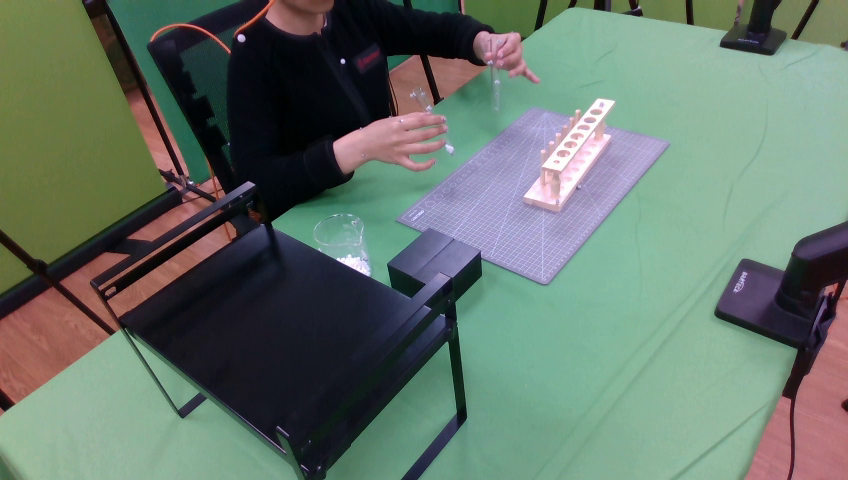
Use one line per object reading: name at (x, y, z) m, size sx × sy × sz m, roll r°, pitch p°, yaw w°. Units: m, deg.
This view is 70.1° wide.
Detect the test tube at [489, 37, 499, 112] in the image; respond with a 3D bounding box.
test tube at (0.132, -0.308, 1.136) m, size 0.017 × 0.151 × 0.017 m, roll -4°, pitch 42°, yaw 4°

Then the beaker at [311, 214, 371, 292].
beaker at (-0.118, 0.022, 0.908) m, size 0.083 × 0.101 × 0.074 m, roll 26°, pitch 51°, yaw 32°

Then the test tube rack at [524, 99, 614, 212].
test tube rack at (0.259, -0.158, 1.069) m, size 0.066 × 0.085 × 0.243 m, roll 19°, pitch 47°, yaw 28°

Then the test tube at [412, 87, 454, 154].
test tube at (0.018, -0.200, 1.029) m, size 0.017 × 0.151 × 0.017 m, roll -16°, pitch 48°, yaw 19°
